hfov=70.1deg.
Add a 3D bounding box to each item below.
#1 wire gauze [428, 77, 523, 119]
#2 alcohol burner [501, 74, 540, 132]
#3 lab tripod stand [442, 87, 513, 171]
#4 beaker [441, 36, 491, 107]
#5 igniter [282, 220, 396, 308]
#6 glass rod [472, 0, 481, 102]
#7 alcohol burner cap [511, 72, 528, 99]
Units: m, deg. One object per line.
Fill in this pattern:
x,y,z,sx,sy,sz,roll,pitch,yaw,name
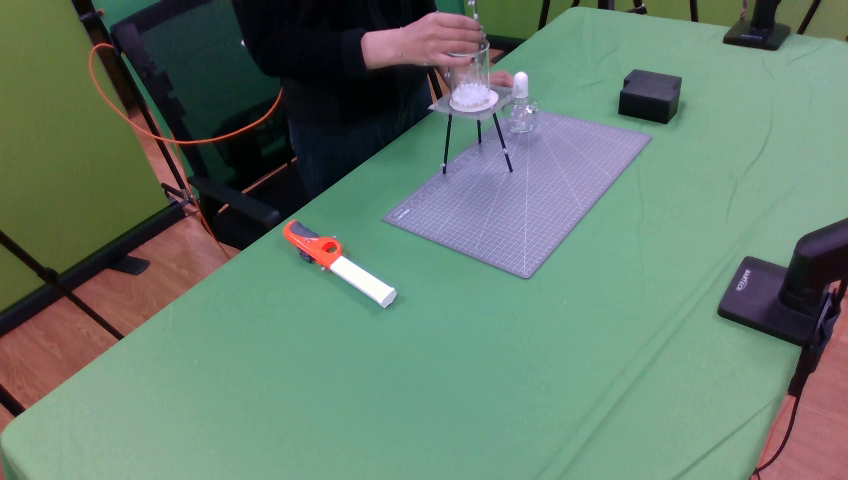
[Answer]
0.091,-0.249,1.063,0.120,0.011,0.125,24,48,30,wire gauze
0.191,-0.275,1.194,0.078,0.119,0.077,-4,42,4,alcohol burner
0.097,-0.201,1.108,0.148,0.132,0.147,-4,40,4,lab tripod stand
0.074,-0.286,1.036,0.084,0.101,0.073,-1,41,8,beaker
-0.146,0.032,0.966,0.274,0.025,0.057,30,64,37,igniter
0.085,-0.315,0.985,0.008,0.200,0.008,-4,42,4,glass rod
0.185,-0.302,1.171,0.034,0.048,0.033,-2,42,2,alcohol burner cap
